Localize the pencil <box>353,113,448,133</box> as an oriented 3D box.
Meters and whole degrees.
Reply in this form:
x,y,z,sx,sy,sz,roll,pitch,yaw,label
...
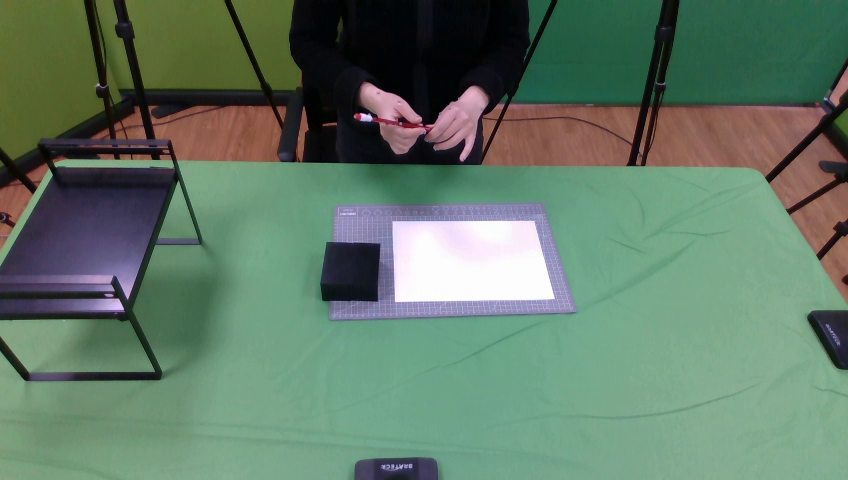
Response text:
x,y,z,sx,sy,sz,roll,pitch,yaw,label
-0.036,-0.204,1.070,0.195,0.012,0.012,4,41,-33,pencil
